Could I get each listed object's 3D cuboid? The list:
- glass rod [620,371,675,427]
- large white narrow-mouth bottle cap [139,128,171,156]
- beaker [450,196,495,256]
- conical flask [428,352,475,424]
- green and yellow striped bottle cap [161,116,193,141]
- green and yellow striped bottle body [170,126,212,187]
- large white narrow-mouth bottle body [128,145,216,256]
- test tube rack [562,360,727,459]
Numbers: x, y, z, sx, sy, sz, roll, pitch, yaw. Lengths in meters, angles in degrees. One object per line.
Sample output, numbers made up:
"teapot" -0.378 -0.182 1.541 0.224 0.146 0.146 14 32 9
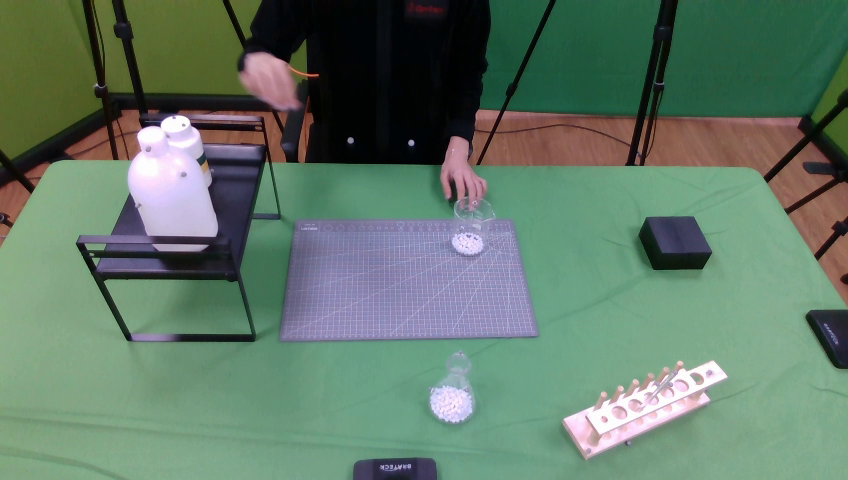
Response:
"glass rod" 0.316 0.230 0.863 0.008 0.200 0.008 3 54 -3
"large white narrow-mouth bottle cap" -0.358 -0.131 0.808 0.038 0.024 0.037 3 47 -3
"beaker" 0.092 -0.024 1.170 0.084 0.101 0.073 15 48 10
"conical flask" 0.046 0.220 0.920 0.075 0.122 0.075 2 46 -2
"green and yellow striped bottle cap" -0.387 -0.174 0.946 0.045 0.020 0.045 3 44 -3
"green and yellow striped bottle body" -0.389 -0.139 0.984 0.063 0.120 0.063 2 46 -2
"large white narrow-mouth bottle body" -0.366 -0.073 0.872 0.102 0.195 0.101 3 47 -3
"test tube rack" 0.341 0.247 0.940 0.243 0.085 0.066 -16 49 -18
